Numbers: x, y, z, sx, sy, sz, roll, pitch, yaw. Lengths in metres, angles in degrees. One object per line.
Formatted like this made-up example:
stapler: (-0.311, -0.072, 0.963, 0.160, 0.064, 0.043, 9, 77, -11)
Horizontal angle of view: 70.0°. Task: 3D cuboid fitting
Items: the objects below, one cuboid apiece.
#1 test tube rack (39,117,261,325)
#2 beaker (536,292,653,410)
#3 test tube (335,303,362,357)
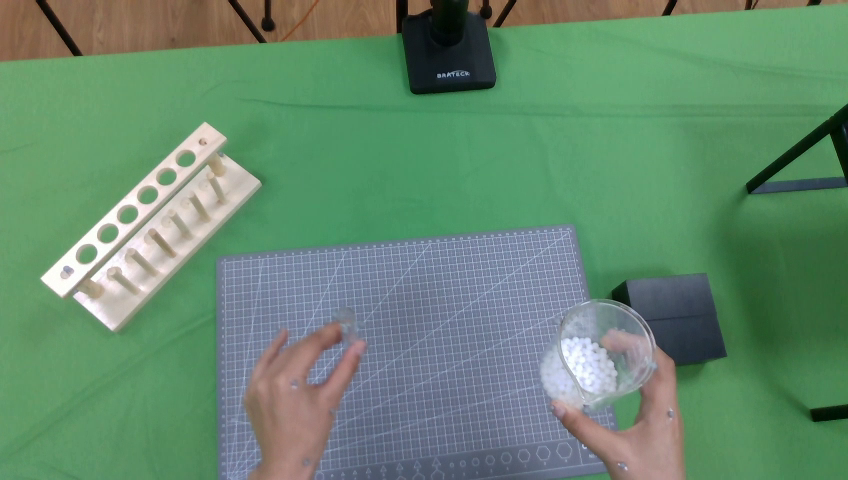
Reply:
test tube rack: (-0.305, -0.022, 0.700, 0.066, 0.085, 0.242, 37, 73, 9)
beaker: (0.133, 0.098, 0.496, 0.074, 0.101, 0.083, 22, 66, 10)
test tube: (-0.069, 0.088, 0.571, 0.017, 0.151, 0.017, 1, 67, -2)
